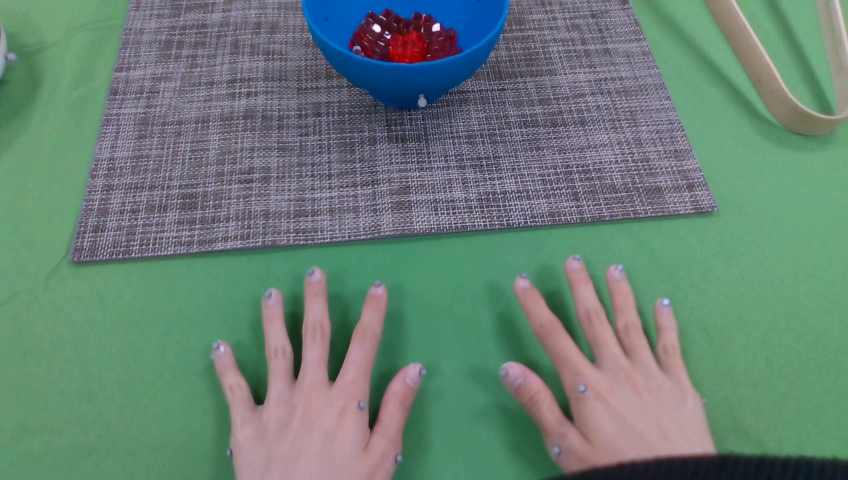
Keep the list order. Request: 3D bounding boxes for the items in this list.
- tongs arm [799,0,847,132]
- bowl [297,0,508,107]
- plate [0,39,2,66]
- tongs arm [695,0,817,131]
[{"bbox_3d":[0.322,-0.270,0.540,0.051,0.026,0.382,1,70,-4],"label":"tongs arm"},{"bbox_3d":[-0.017,-0.158,0.469,0.151,0.077,0.150,1,58,-1],"label":"bowl"},{"bbox_3d":[-0.431,-0.120,0.462,0.209,0.038,0.207,1,59,-1],"label":"plate"},{"bbox_3d":[0.233,-0.262,0.533,0.028,0.028,0.384,-13,71,-13],"label":"tongs arm"}]
